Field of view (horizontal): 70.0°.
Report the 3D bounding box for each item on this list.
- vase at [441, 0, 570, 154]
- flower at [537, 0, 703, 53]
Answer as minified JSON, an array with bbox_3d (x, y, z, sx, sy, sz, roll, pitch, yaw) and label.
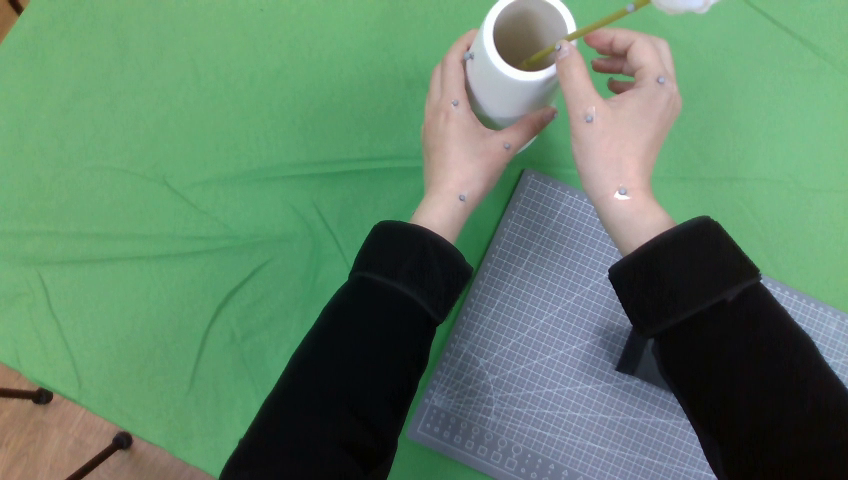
[{"bbox_3d":[0.070,-0.142,0.535,0.098,0.200,0.098,0,84,-3],"label":"vase"},{"bbox_3d":[0.091,-0.145,0.454,0.038,0.360,0.044,41,77,-16],"label":"flower"}]
